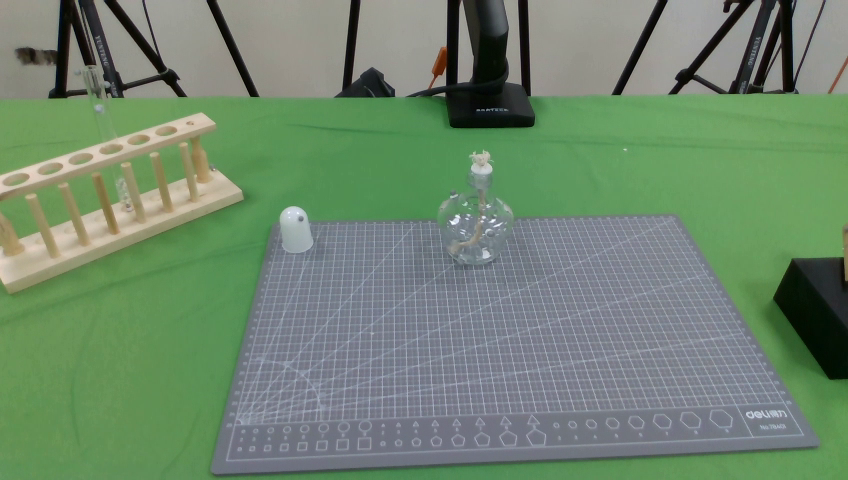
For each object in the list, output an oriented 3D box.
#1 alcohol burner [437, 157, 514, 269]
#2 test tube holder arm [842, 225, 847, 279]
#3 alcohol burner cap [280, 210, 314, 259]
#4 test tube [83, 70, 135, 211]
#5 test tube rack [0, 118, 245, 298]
[{"bbox_3d":[0.052,-0.030,0.592,0.078,0.120,0.077,2,40,-1],"label":"alcohol burner"},{"bbox_3d":[0.389,0.014,0.548,0.010,0.015,0.087,18,42,18],"label":"test tube holder arm"},{"bbox_3d":[-0.131,-0.008,0.618,0.034,0.048,0.033,1,39,-1],"label":"alcohol burner cap"},{"bbox_3d":[-0.316,-0.096,0.614,0.017,0.151,0.017,1,32,0],"label":"test tube"},{"bbox_3d":[-0.317,-0.041,0.624,0.242,0.086,0.066,-28,46,-32],"label":"test tube rack"}]
